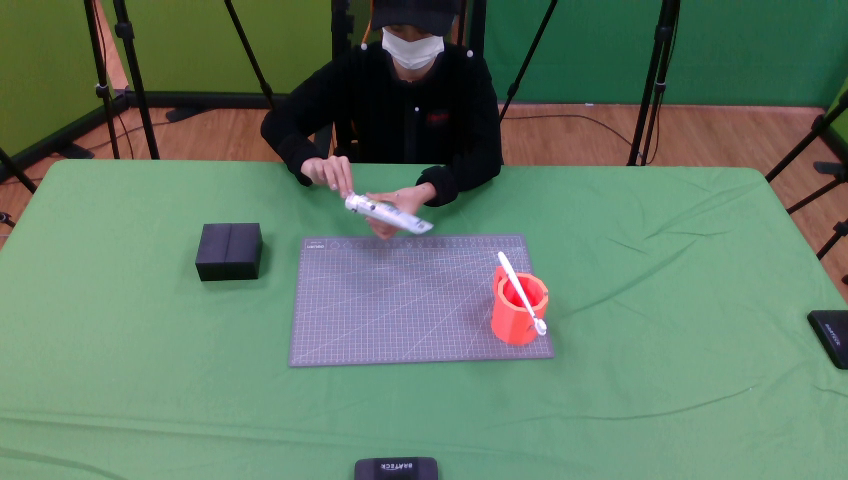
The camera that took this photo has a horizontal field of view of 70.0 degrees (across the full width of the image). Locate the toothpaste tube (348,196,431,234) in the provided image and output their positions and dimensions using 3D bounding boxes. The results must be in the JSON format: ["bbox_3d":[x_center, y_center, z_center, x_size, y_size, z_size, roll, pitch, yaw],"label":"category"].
[{"bbox_3d":[-0.070,-0.045,1.107,0.164,0.034,0.055,21,27,20],"label":"toothpaste tube"}]

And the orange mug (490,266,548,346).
[{"bbox_3d":[0.155,0.107,1.051,0.083,0.101,0.125,-15,53,-18],"label":"orange mug"}]

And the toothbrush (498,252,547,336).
[{"bbox_3d":[0.160,0.083,1.001,0.014,0.017,0.180,-14,48,-12],"label":"toothbrush"}]

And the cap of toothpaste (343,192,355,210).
[{"bbox_3d":[-0.138,-0.072,1.136,0.011,0.037,0.037,17,47,17],"label":"cap of toothpaste"}]
